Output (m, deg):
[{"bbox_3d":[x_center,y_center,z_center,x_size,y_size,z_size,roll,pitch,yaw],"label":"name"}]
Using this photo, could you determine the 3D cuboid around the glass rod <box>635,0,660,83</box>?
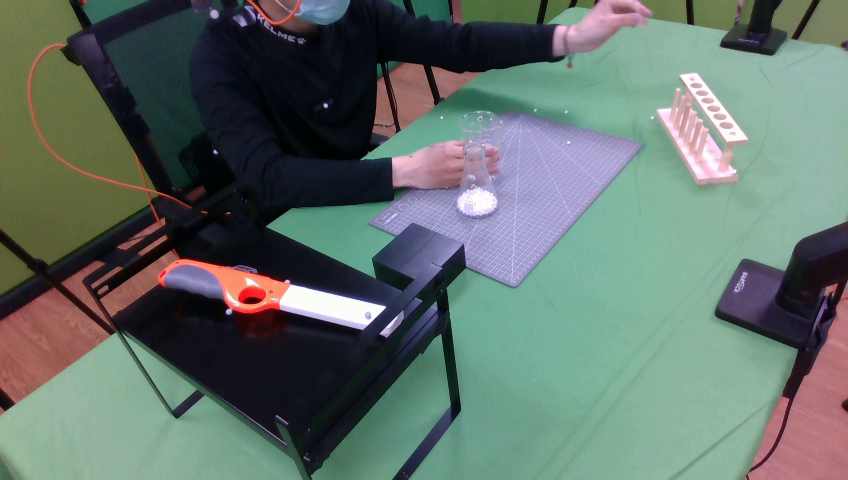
[{"bbox_3d":[0.393,-0.378,1.080,0.008,0.200,0.008,-18,9,3],"label":"glass rod"}]

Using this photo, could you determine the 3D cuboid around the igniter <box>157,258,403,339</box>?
[{"bbox_3d":[-0.157,0.059,0.638,0.275,0.025,0.057,11,43,14],"label":"igniter"}]

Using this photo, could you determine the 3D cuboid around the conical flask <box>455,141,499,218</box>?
[{"bbox_3d":[0.085,-0.103,0.999,0.075,0.122,0.075,-4,40,4],"label":"conical flask"}]

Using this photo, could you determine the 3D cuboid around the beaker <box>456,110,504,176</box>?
[{"bbox_3d":[0.104,-0.173,1.096,0.084,0.101,0.074,5,42,13],"label":"beaker"}]

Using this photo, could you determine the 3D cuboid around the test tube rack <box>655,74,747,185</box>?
[{"bbox_3d":[0.491,-0.205,1.092,0.067,0.085,0.241,-5,40,3],"label":"test tube rack"}]
